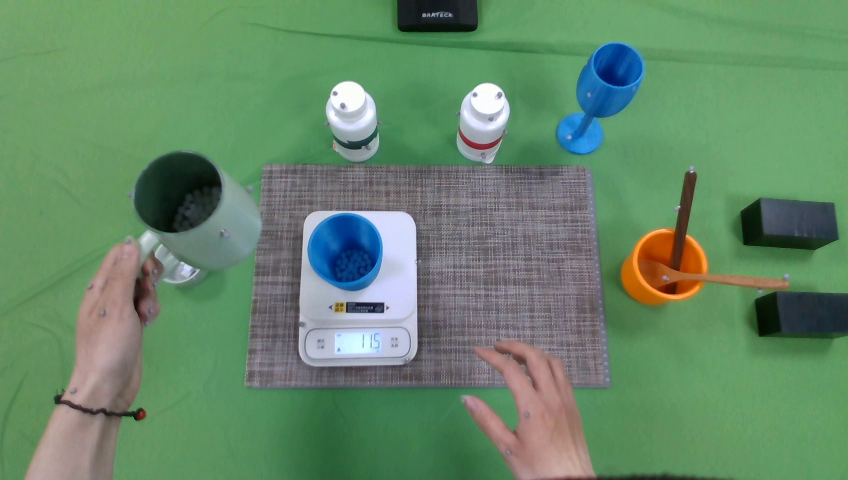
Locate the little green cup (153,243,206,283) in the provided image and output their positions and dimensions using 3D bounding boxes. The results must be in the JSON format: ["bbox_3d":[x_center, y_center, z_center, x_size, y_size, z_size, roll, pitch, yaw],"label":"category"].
[{"bbox_3d":[-0.309,0.027,0.777,0.061,0.039,0.061,1,74,-2],"label":"little green cup"}]

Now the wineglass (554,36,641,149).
[{"bbox_3d":[0.219,-0.184,0.782,0.074,0.173,0.073,0,73,-1],"label":"wineglass"}]

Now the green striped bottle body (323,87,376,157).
[{"bbox_3d":[-0.097,-0.160,0.794,0.063,0.120,0.063,0,74,-1],"label":"green striped bottle body"}]

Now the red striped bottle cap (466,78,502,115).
[{"bbox_3d":[0.074,-0.178,0.748,0.044,0.018,0.044,0,71,-1],"label":"red striped bottle cap"}]

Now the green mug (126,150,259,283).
[{"bbox_3d":[-0.218,-0.013,0.557,0.092,0.105,0.125,35,77,9],"label":"green mug"}]

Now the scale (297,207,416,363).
[{"bbox_3d":[-0.086,0.054,0.775,0.149,0.032,0.199,-1,74,-1],"label":"scale"}]

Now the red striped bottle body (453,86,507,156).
[{"bbox_3d":[0.074,-0.163,0.800,0.063,0.120,0.062,1,74,-1],"label":"red striped bottle body"}]

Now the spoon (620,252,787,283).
[{"bbox_3d":[0.330,0.039,0.734,0.022,0.192,0.041,22,77,-40],"label":"spoon"}]

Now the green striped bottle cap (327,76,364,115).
[{"bbox_3d":[-0.096,-0.177,0.741,0.044,0.020,0.044,0,74,-1],"label":"green striped bottle cap"}]

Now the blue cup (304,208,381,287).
[{"bbox_3d":[-0.091,0.017,0.717,0.093,0.100,0.092,0,76,-1],"label":"blue cup"}]

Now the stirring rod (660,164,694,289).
[{"bbox_3d":[0.311,-0.012,0.748,0.014,0.177,0.006,5,33,13],"label":"stirring rod"}]
